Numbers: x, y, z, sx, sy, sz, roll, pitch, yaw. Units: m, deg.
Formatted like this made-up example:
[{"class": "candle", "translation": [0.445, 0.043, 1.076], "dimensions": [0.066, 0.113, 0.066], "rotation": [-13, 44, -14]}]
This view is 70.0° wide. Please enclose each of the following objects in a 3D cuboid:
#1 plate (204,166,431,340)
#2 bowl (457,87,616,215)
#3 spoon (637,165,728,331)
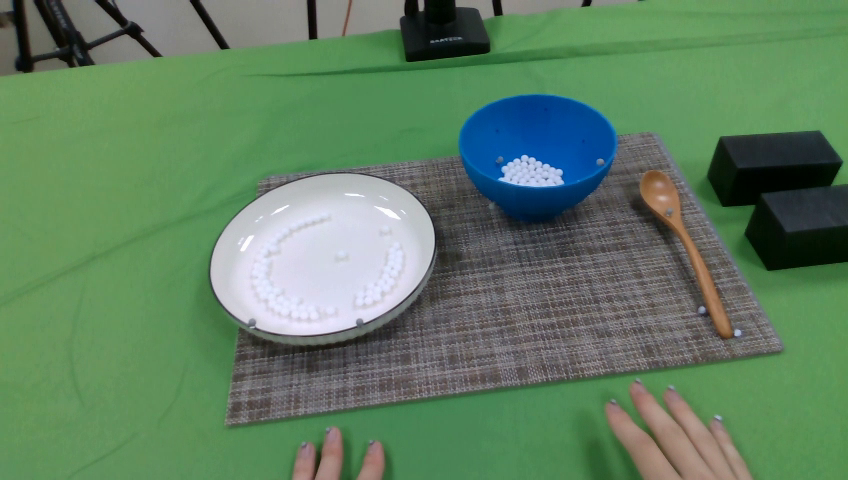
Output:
[{"class": "plate", "translation": [-0.096, 0.011, 0.567], "dimensions": [0.207, 0.039, 0.205], "rotation": [-2, 47, 3]}, {"class": "bowl", "translation": [0.108, -0.078, 0.604], "dimensions": [0.151, 0.077, 0.150], "rotation": [-2, 47, 3]}, {"class": "spoon", "translation": [0.238, 0.000, 0.556], "dimensions": [0.042, 0.022, 0.191], "rotation": [7, 45, -13]}]
